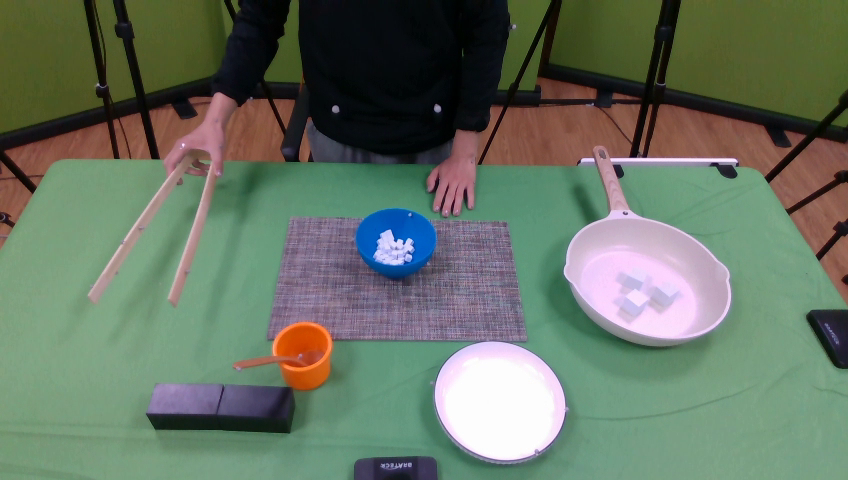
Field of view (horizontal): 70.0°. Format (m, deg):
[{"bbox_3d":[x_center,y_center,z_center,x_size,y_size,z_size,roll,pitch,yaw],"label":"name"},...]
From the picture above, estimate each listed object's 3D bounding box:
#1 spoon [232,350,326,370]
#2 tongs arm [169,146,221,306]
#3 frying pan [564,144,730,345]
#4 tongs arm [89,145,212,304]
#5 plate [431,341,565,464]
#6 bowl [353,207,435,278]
[{"bbox_3d":[-0.216,0.182,0.919,0.041,0.194,0.021,43,102,27],"label":"spoon"},{"bbox_3d":[-0.412,-0.041,1.097,0.028,0.028,0.385,-9,47,6],"label":"tongs arm"},{"bbox_3d":[0.396,-0.008,1.179,0.307,0.103,0.484,0,55,-5],"label":"frying pan"},{"bbox_3d":[-0.488,-0.042,1.106,0.051,0.027,0.382,3,48,11],"label":"tongs arm"},{"bbox_3d":[0.114,0.255,0.951,0.208,0.039,0.206,3,46,-2],"label":"plate"},{"bbox_3d":[-0.056,0.018,1.132,0.151,0.077,0.150,2,46,-2],"label":"bowl"}]
